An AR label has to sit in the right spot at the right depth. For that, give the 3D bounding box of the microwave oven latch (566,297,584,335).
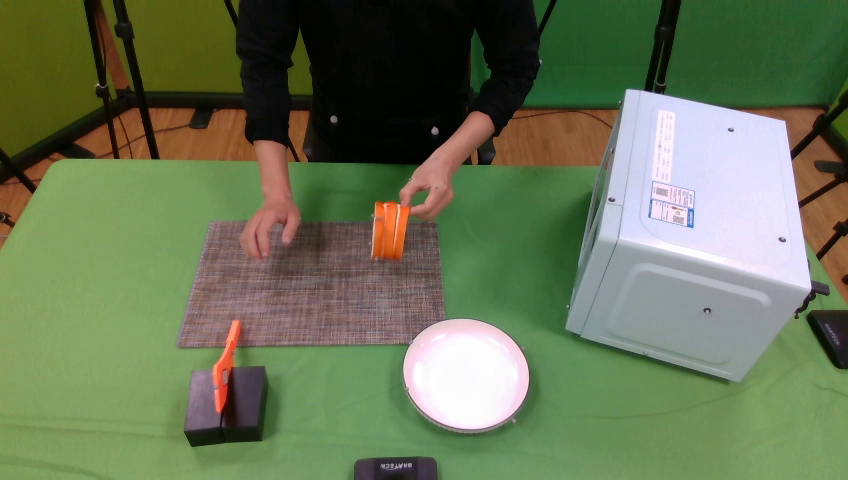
[{"bbox_3d":[0.268,0.126,1.059,0.030,0.029,0.079,16,46,12],"label":"microwave oven latch"}]

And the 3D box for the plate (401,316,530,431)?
[{"bbox_3d":[0.066,0.217,0.982,0.208,0.039,0.206,2,46,-2],"label":"plate"}]

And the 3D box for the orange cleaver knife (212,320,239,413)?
[{"bbox_3d":[-0.306,0.190,0.944,0.012,0.077,0.210,-5,17,-7],"label":"orange cleaver knife"}]

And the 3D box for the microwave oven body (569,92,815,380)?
[{"bbox_3d":[0.468,-0.022,1.082,0.325,0.261,0.440,15,46,11],"label":"microwave oven body"}]

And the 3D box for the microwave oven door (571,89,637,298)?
[{"bbox_3d":[0.343,-0.091,1.133,0.039,0.245,0.354,15,47,10],"label":"microwave oven door"}]

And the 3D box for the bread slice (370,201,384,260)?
[{"bbox_3d":[-0.083,-0.019,1.064,0.018,0.134,0.107,3,89,-6],"label":"bread slice"}]
